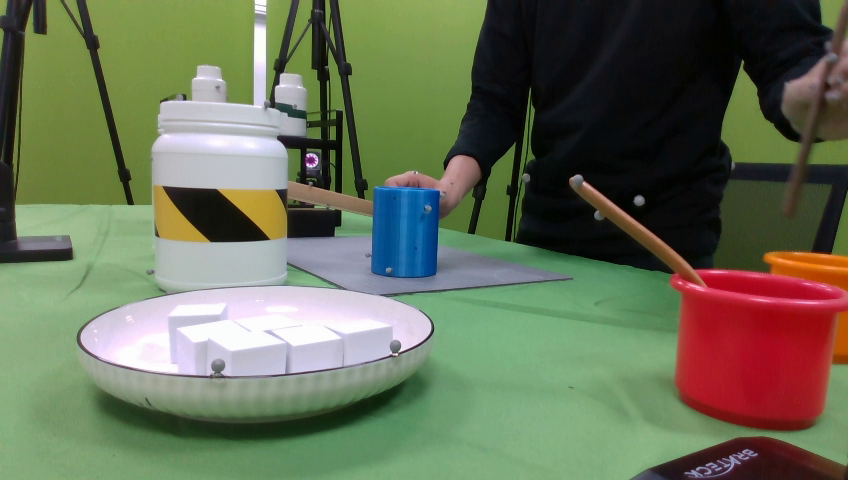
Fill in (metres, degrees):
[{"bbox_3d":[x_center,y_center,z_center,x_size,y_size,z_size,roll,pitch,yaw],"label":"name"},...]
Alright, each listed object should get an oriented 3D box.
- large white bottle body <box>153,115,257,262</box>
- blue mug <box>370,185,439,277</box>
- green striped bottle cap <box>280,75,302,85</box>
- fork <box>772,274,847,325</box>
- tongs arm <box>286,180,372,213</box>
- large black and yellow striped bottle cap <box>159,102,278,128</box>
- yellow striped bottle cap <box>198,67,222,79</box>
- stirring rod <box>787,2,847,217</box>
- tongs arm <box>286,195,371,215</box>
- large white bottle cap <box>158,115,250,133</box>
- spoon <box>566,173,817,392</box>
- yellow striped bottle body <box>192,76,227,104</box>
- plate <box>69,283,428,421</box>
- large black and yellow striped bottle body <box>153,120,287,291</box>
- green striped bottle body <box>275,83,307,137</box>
[{"bbox_3d":[-0.293,-0.070,0.813,0.131,0.184,0.130,2,7,0],"label":"large white bottle body"},{"bbox_3d":[-0.025,-0.015,0.760,0.082,0.106,0.116,1,7,-4],"label":"blue mug"},{"bbox_3d":[-0.267,-0.320,1.216,0.044,0.020,0.044,2,8,0],"label":"green striped bottle cap"},{"bbox_3d":[0.332,0.019,0.444,0.028,0.018,0.207,0,-36,-14],"label":"fork"},{"bbox_3d":[-0.122,-0.066,1.147,0.387,0.026,0.050,11,-2,-37],"label":"tongs arm"},{"bbox_3d":[-0.207,-0.125,0.615,0.115,0.019,0.115,2,6,0],"label":"large black and yellow striped bottle cap"},{"bbox_3d":[-0.412,-0.320,1.162,0.044,0.018,0.044,0,5,0],"label":"yellow striped bottle cap"},{"bbox_3d":[0.322,-0.105,0.492,0.014,0.176,0.006,8,6,-37],"label":"stirring rod"},{"bbox_3d":[-0.165,-0.075,1.216,0.389,0.027,0.028,11,-6,-24],"label":"tongs arm"},{"bbox_3d":[-0.291,-0.153,0.803,0.115,0.018,0.115,1,7,0],"label":"large white bottle cap"},{"bbox_3d":[0.161,0.024,0.370,0.193,0.021,0.042,47,17,3],"label":"spoon"},{"bbox_3d":[-0.414,-0.268,1.169,0.063,0.120,0.063,2,7,0],"label":"yellow striped bottle body"},{"bbox_3d":[-0.102,0.066,0.381,0.208,0.039,0.207,2,7,0],"label":"plate"},{"bbox_3d":[-0.208,-0.042,0.626,0.131,0.184,0.130,2,7,0],"label":"large black and yellow striped bottle body"},{"bbox_3d":[-0.269,-0.269,1.221,0.063,0.119,0.063,2,7,0],"label":"green striped bottle body"}]
